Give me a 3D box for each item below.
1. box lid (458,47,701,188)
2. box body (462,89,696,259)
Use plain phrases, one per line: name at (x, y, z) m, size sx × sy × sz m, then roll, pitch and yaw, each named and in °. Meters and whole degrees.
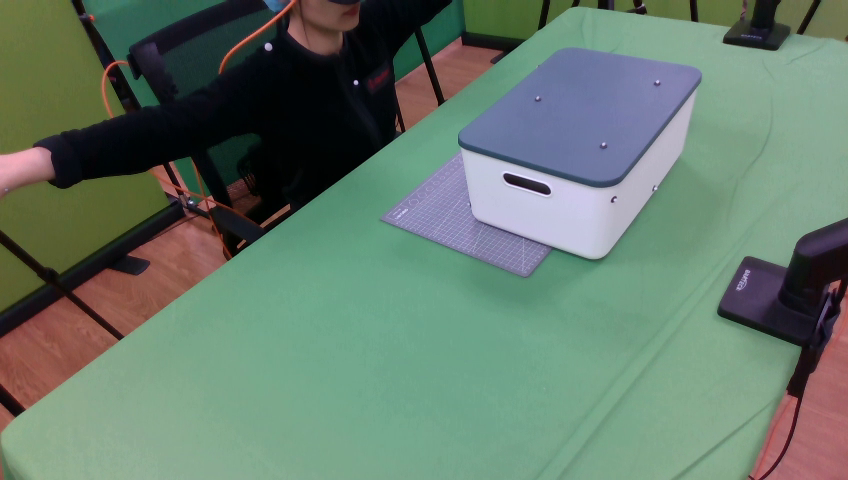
box lid at (0.253, -0.211, 0.954) m, size 0.261 × 0.015 × 0.372 m, roll 22°, pitch 49°, yaw 30°
box body at (0.261, -0.153, 1.001) m, size 0.252 × 0.161 × 0.365 m, roll 21°, pitch 48°, yaw 31°
